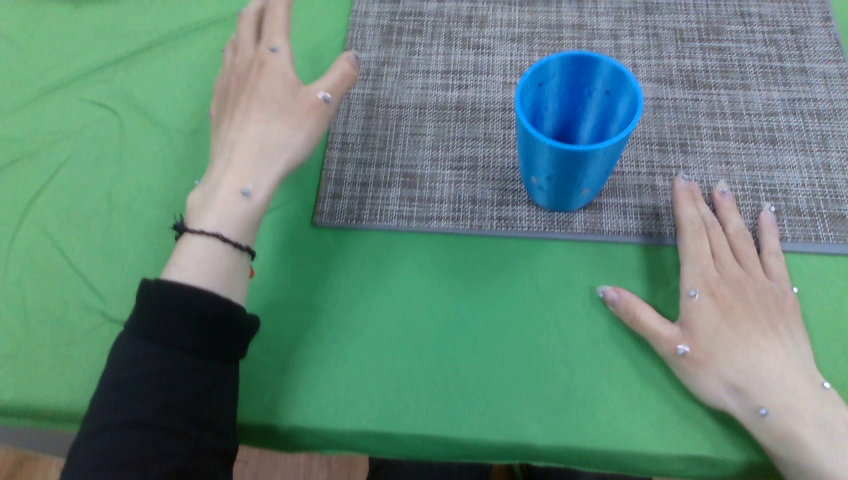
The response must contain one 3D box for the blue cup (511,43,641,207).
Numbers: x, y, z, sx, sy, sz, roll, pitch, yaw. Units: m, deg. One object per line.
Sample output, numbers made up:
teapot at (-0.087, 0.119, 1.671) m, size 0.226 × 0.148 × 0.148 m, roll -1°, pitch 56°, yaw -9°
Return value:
blue cup at (0.105, -0.075, 0.448) m, size 0.092 × 0.101 × 0.092 m, roll -2°, pitch 63°, yaw 4°
